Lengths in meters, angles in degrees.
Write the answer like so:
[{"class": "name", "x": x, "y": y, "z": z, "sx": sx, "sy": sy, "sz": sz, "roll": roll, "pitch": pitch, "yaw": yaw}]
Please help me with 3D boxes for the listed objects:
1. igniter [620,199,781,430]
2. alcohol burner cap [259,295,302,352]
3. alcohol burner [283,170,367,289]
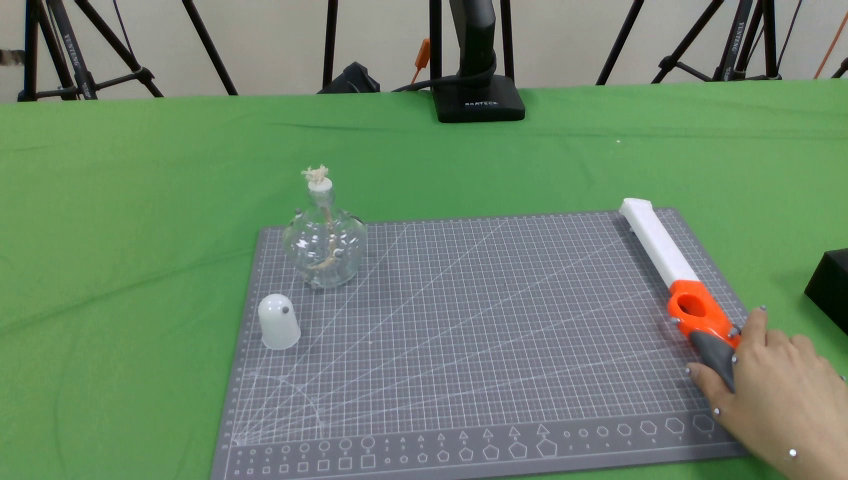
[{"class": "igniter", "x": 0.237, "y": 0.050, "z": 0.542, "sx": 0.057, "sy": 0.025, "sz": 0.273, "roll": 6, "pitch": 38, "yaw": -11}, {"class": "alcohol burner cap", "x": -0.121, "y": 0.066, "z": 0.504, "sx": 0.034, "sy": 0.048, "sz": 0.033, "roll": 1, "pitch": 39, "yaw": -1}, {"class": "alcohol burner", "x": -0.090, "y": -0.014, "z": 0.547, "sx": 0.078, "sy": 0.120, "sz": 0.077, "roll": 2, "pitch": 41, "yaw": -1}]
